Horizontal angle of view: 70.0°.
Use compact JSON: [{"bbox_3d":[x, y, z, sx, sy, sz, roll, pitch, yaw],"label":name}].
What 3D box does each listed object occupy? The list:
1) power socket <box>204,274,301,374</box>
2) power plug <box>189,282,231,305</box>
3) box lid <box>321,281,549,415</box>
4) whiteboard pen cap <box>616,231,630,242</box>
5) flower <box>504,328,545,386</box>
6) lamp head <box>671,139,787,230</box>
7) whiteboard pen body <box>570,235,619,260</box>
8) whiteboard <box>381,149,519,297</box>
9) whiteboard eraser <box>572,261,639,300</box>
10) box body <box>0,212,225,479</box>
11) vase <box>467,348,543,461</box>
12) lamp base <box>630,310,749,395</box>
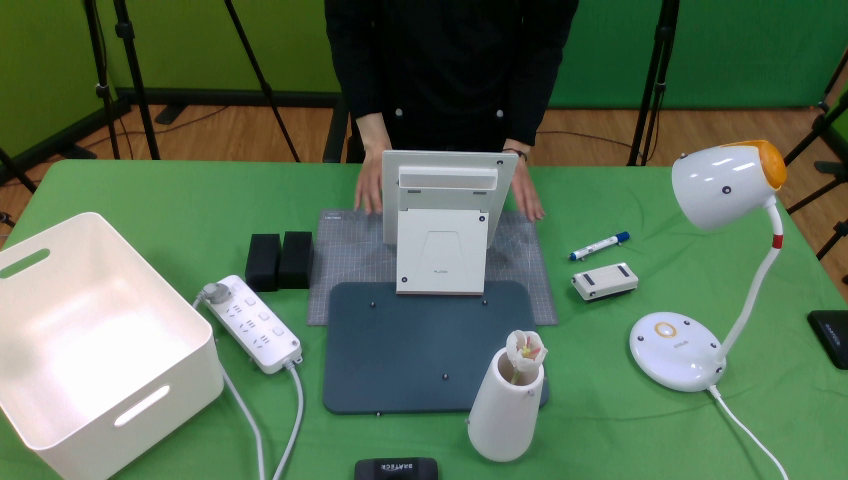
[{"bbox_3d":[-0.296,0.140,1.035,0.072,0.033,0.225,-33,57,-29],"label":"power socket"},{"bbox_3d":[-0.368,0.097,1.038,0.072,0.053,0.035,-27,54,-21],"label":"power plug"},{"bbox_3d":[0.013,0.174,1.040,0.372,0.015,0.261,0,47,-5],"label":"box lid"},{"bbox_3d":[0.403,-0.007,1.235,0.033,0.018,0.018,-19,50,-24],"label":"whiteboard pen cap"},{"bbox_3d":[0.114,0.189,0.790,0.044,0.363,0.038,34,69,19],"label":"flower"},{"bbox_3d":[0.415,-0.078,0.812,0.113,0.123,0.112,12,70,-37],"label":"lamp head"},{"bbox_3d":[0.351,0.010,1.215,0.141,0.017,0.017,-20,51,-23],"label":"whiteboard pen body"},{"bbox_3d":[0.033,-0.008,1.042,0.217,0.307,0.143,2,61,-2],"label":"whiteboard"},{"bbox_3d":[0.338,0.079,1.133,0.113,0.042,0.055,-12,46,-15],"label":"whiteboard eraser"},{"bbox_3d":[-0.506,0.155,0.915,0.362,0.161,0.254,35,54,26],"label":"box body"},{"bbox_3d":[0.116,0.235,0.860,0.098,0.201,0.097,1,47,-1],"label":"vase"},{"bbox_3d":[0.447,0.143,0.984,0.161,0.181,0.178,-24,55,-24],"label":"lamp base"}]
